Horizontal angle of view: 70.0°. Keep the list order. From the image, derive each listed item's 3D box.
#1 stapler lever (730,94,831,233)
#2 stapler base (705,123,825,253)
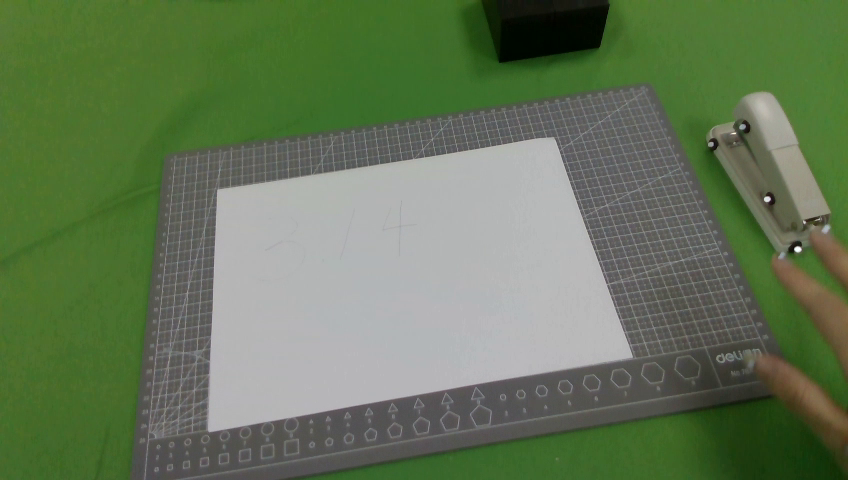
[{"bbox_3d":[0.275,-0.063,0.469,0.027,0.040,0.117,-14,60,-2],"label":"stapler lever"},{"bbox_3d":[0.276,-0.051,0.492,0.041,0.024,0.129,-14,60,-2],"label":"stapler base"}]
